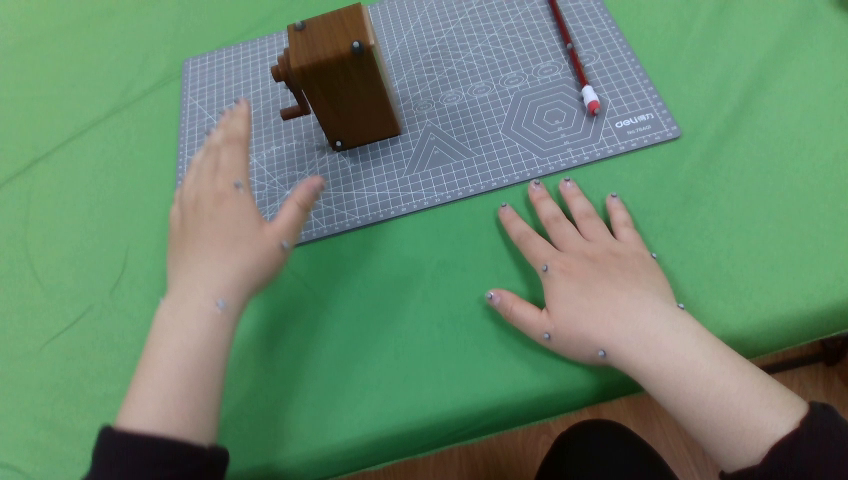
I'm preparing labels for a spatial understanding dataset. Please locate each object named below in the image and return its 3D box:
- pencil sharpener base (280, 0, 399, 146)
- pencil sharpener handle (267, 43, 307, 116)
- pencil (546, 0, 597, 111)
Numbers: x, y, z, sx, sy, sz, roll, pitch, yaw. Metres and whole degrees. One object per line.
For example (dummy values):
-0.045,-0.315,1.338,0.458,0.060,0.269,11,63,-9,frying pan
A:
-0.073,-0.144,0.536,0.076,0.108,0.060,-16,56,3,pencil sharpener base
-0.125,-0.136,0.528,0.030,0.068,0.035,-16,56,3,pencil sharpener handle
0.135,-0.192,0.578,0.012,0.012,0.192,-12,55,6,pencil
